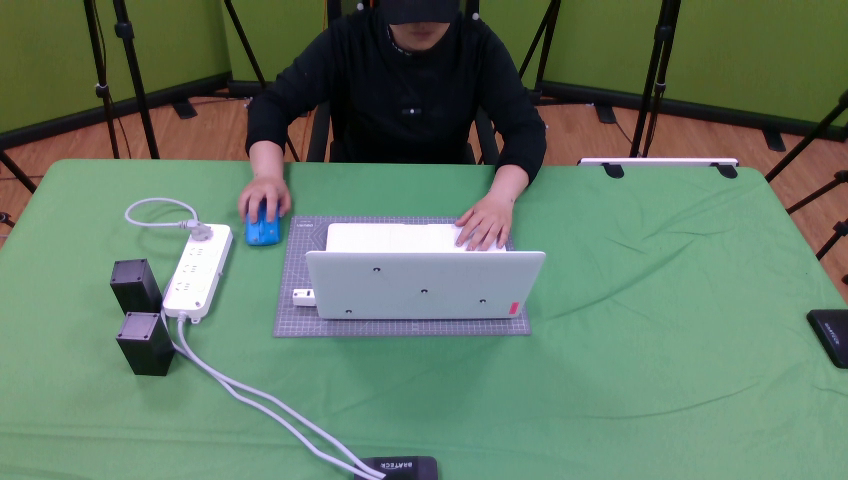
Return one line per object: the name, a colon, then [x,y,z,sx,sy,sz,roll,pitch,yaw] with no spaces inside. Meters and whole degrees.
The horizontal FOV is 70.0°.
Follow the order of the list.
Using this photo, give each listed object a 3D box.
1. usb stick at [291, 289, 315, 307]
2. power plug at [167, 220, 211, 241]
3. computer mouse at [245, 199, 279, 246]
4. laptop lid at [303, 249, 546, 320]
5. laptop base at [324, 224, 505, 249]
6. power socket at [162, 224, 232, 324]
usb stick: [-0.203,0.102,1.066,0.059,0.027,0.021,4,45,-5]
power plug: [-0.438,-0.017,1.143,0.072,0.053,0.035,10,43,7]
computer mouse: [-0.320,-0.038,1.200,0.063,0.041,0.116,-2,50,-8]
laptop lid: [-0.002,0.077,0.962,0.357,0.242,0.013,1,58,-5]
laptop base: [-0.014,0.055,1.144,0.355,0.023,0.234,0,42,-4]
power socket: [-0.411,0.052,1.106,0.072,0.033,0.225,4,45,-1]
